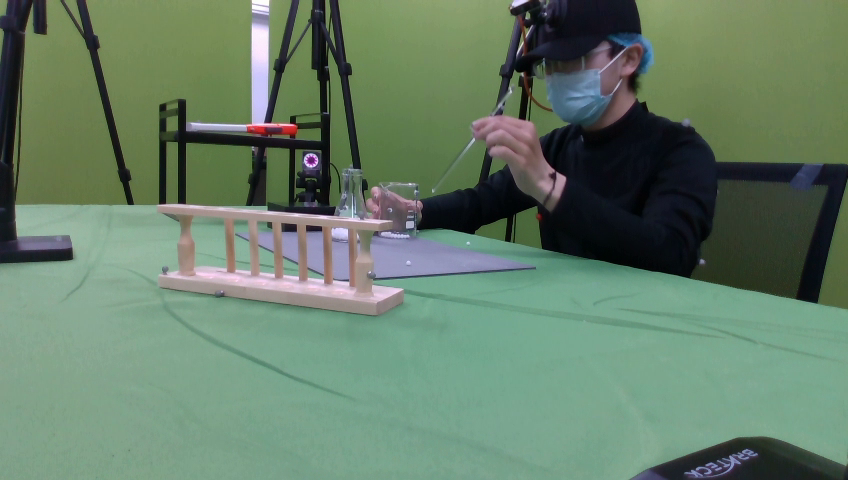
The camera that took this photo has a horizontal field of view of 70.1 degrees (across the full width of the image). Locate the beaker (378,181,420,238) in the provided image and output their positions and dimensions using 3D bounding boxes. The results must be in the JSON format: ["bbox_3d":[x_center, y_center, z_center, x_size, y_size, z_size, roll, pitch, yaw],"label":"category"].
[{"bbox_3d":[-0.048,-0.055,1.088,0.073,0.100,0.084,7,9,33],"label":"beaker"}]

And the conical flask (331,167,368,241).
[{"bbox_3d":[-0.123,-0.061,1.019,0.075,0.122,0.075,2,7,0],"label":"conical flask"}]

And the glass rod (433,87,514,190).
[{"bbox_3d":[0.075,-0.154,0.935,0.008,0.199,0.008,35,18,-12],"label":"glass rod"}]

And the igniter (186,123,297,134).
[{"bbox_3d":[-0.392,-0.248,1.341,0.057,0.025,0.278,9,14,38],"label":"igniter"}]

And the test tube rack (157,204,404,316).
[{"bbox_3d":[-0.143,0.013,0.599,0.242,0.085,0.067,5,8,19],"label":"test tube rack"}]
